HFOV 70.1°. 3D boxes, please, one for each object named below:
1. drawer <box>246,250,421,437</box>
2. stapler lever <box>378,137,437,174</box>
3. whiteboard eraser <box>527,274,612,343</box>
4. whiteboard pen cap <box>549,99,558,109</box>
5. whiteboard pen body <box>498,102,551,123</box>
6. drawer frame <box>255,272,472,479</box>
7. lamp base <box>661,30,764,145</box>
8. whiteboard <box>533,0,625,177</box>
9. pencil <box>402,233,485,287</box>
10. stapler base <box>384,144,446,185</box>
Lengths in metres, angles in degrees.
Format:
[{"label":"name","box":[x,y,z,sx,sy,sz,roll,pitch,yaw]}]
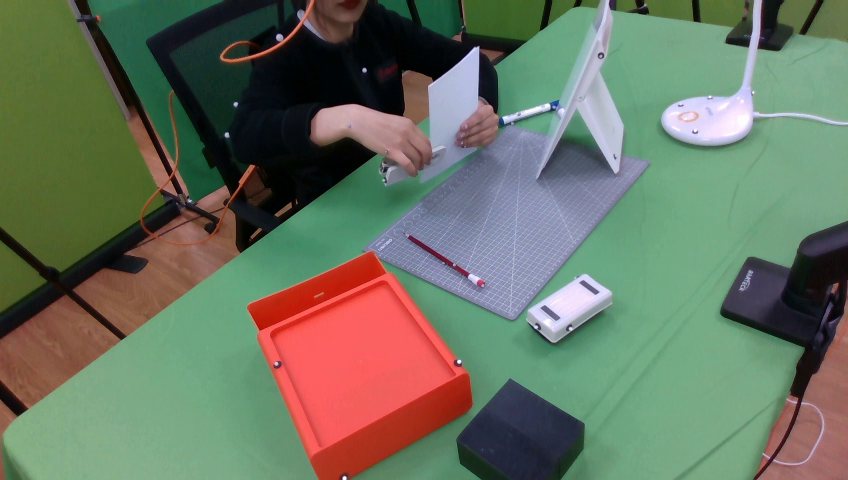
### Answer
[{"label":"drawer","box":[-0.109,0.129,0.804,0.195,0.073,0.210,-23,42,-18]},{"label":"stapler lever","box":[-0.028,-0.144,1.017,0.119,0.027,0.040,-19,60,-29]},{"label":"whiteboard eraser","box":[0.198,0.094,0.820,0.113,0.042,0.055,-29,43,-22]},{"label":"whiteboard pen cap","box":[0.275,-0.286,1.267,0.033,0.018,0.018,-17,41,-12]},{"label":"whiteboard pen body","box":[0.221,-0.268,1.257,0.141,0.017,0.017,-19,41,-12]},{"label":"drawer frame","box":[-0.079,0.161,0.760,0.202,0.083,0.211,-24,43,-18]},{"label":"lamp base","box":[0.535,-0.287,1.096,0.179,0.181,0.159,-10,40,-4]},{"label":"whiteboard","box":[0.321,-0.258,1.049,0.144,0.306,0.217,20,45,4]},{"label":"pencil","box":[0.026,0.028,0.949,0.012,0.012,0.192,-34,44,-26]},{"label":"stapler base","box":[-0.019,-0.133,1.013,0.131,0.041,0.024,-30,65,-34]}]
